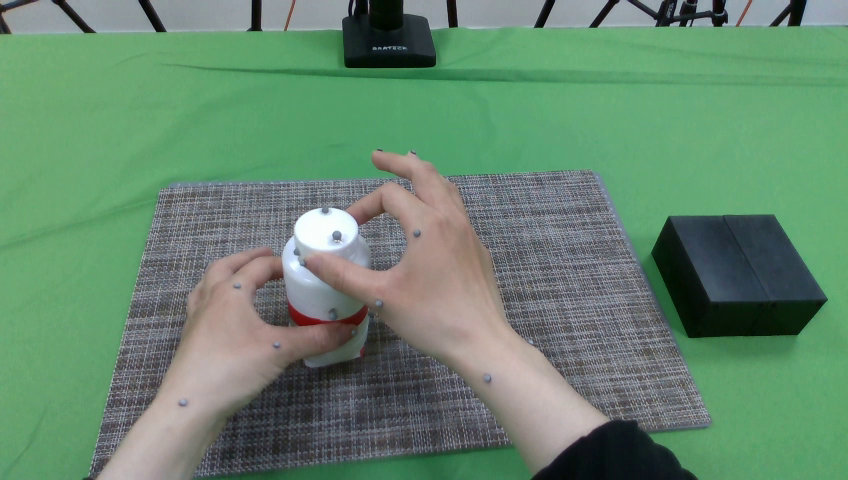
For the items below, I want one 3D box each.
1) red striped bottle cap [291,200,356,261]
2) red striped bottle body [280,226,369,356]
[{"bbox_3d":[-0.069,-0.007,0.415,0.044,0.018,0.044,4,45,-4],"label":"red striped bottle cap"},{"bbox_3d":[-0.074,0.030,0.454,0.063,0.120,0.062,4,46,-4],"label":"red striped bottle body"}]
